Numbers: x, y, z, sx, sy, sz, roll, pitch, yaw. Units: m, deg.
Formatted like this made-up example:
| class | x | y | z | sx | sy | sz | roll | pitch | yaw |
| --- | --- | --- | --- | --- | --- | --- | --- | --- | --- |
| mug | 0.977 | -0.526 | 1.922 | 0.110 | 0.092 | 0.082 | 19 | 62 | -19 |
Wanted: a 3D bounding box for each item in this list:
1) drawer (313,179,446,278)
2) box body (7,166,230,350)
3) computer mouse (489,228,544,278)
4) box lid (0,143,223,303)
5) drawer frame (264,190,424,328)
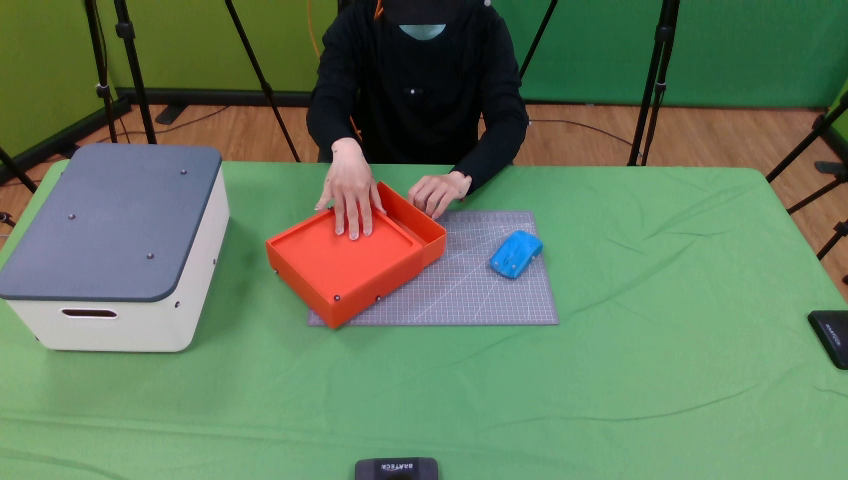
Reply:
| class | x | y | z | sx | sy | sz | roll | pitch | yaw |
| --- | --- | --- | --- | --- | --- | --- | --- | --- | --- |
| drawer | -0.099 | -0.001 | 1.146 | 0.212 | 0.073 | 0.193 | -33 | 58 | -30 |
| box body | -0.502 | 0.008 | 1.054 | 0.254 | 0.161 | 0.361 | 1 | 46 | -3 |
| computer mouse | 0.180 | 0.022 | 1.175 | 0.062 | 0.041 | 0.117 | 33 | 57 | 23 |
| box lid | -0.499 | -0.045 | 1.002 | 0.263 | 0.015 | 0.369 | 2 | 46 | -3 |
| drawer frame | -0.144 | 0.028 | 1.114 | 0.213 | 0.083 | 0.200 | -34 | 57 | -30 |
